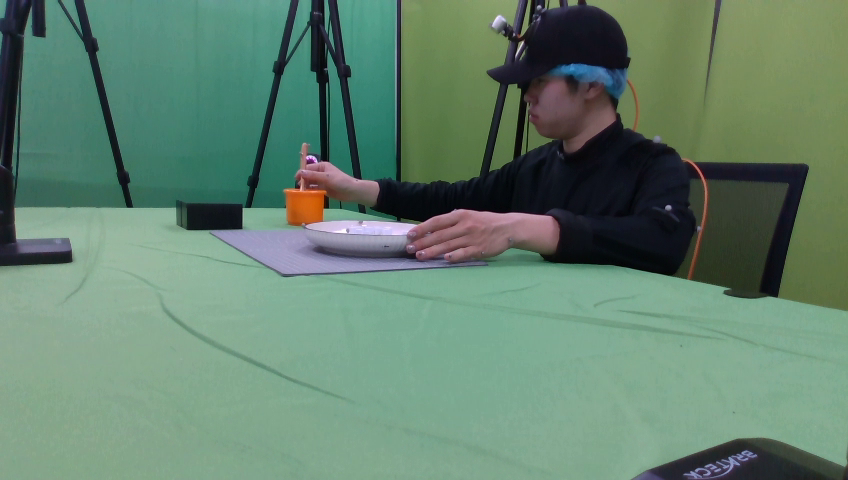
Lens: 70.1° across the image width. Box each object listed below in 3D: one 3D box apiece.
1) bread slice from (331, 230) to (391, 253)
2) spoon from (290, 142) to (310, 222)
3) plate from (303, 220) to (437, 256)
[{"bbox_3d":[-0.088,0.000,0.947,0.105,0.019,0.131,-4,11,-45],"label":"bread slice"},{"bbox_3d":[-0.266,-0.129,1.314,0.042,0.193,0.021,0,-28,-6],"label":"spoon"},{"bbox_3d":[-0.084,-0.003,0.951,0.209,0.038,0.209,3,7,0],"label":"plate"}]
